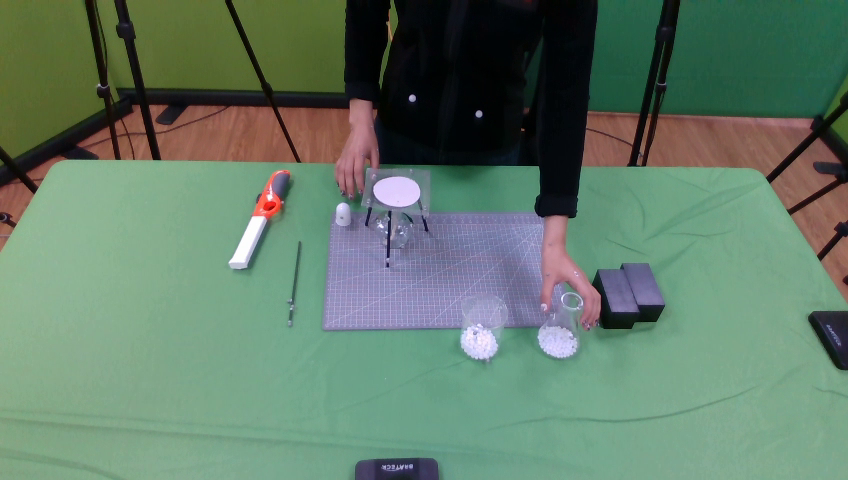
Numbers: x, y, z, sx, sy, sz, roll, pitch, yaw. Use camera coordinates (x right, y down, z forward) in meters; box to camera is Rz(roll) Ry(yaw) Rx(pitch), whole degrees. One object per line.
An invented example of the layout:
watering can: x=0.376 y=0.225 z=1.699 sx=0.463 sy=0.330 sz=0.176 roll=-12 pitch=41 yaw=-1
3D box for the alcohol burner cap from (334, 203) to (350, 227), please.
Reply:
alcohol burner cap: x=-0.166 y=-0.054 z=1.221 sx=0.034 sy=0.048 sz=0.033 roll=3 pitch=45 yaw=-2

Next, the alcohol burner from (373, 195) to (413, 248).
alcohol burner: x=-0.059 y=-0.041 z=1.167 sx=0.078 sy=0.119 sz=0.077 roll=4 pitch=46 yaw=-3

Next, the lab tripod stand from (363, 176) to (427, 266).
lab tripod stand: x=-0.058 y=-0.047 z=1.159 sx=0.148 sy=0.132 sz=0.147 roll=3 pitch=44 yaw=-2

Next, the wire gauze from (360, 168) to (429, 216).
wire gauze: x=-0.053 y=-0.093 z=1.111 sx=0.125 sy=0.011 sz=0.120 roll=5 pitch=44 yaw=-1

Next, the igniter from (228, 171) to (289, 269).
igniter: x=-0.328 y=-0.049 z=1.218 sx=0.057 sy=0.025 sz=0.275 roll=1 pitch=45 yaw=11

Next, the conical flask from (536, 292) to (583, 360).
conical flask: x=0.234 y=0.139 z=1.015 sx=0.075 sy=0.122 sz=0.075 roll=2 pitch=46 yaw=-2

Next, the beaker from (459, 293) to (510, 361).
beaker: x=0.094 y=0.147 z=1.012 sx=0.083 sy=0.101 sz=0.074 roll=26 pitch=49 yaw=21

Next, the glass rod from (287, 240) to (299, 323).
glass rod: x=-0.242 y=0.072 z=1.119 sx=0.008 sy=0.008 sz=0.198 roll=-1 pitch=47 yaw=-5
